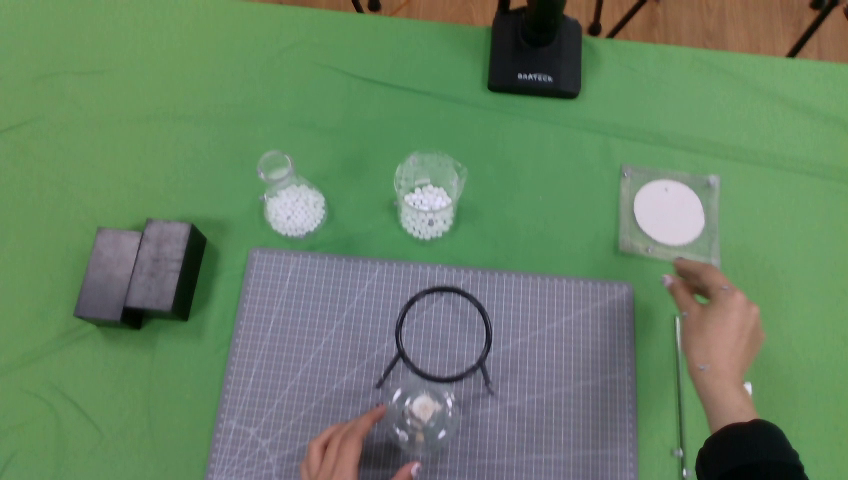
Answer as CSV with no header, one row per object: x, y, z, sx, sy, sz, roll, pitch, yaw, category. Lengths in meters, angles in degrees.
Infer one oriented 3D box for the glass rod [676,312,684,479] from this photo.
0.284,0.175,0.672,0.008,0.008,0.198,8,70,1,glass rod

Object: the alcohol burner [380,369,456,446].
-0.005,0.165,0.604,0.078,0.120,0.077,1,69,-2,alcohol burner

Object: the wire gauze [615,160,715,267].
0.296,-0.036,0.741,0.125,0.011,0.121,10,72,0,wire gauze

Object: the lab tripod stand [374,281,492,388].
0.012,0.105,0.614,0.148,0.132,0.147,0,73,-1,lab tripod stand

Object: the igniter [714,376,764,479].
0.340,0.281,0.625,0.057,0.025,0.274,3,71,-12,igniter

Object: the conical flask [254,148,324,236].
-0.155,-0.057,0.672,0.075,0.122,0.075,1,71,-1,conical flask

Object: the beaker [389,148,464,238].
0.002,-0.050,0.688,0.084,0.101,0.073,-20,73,-9,beaker
